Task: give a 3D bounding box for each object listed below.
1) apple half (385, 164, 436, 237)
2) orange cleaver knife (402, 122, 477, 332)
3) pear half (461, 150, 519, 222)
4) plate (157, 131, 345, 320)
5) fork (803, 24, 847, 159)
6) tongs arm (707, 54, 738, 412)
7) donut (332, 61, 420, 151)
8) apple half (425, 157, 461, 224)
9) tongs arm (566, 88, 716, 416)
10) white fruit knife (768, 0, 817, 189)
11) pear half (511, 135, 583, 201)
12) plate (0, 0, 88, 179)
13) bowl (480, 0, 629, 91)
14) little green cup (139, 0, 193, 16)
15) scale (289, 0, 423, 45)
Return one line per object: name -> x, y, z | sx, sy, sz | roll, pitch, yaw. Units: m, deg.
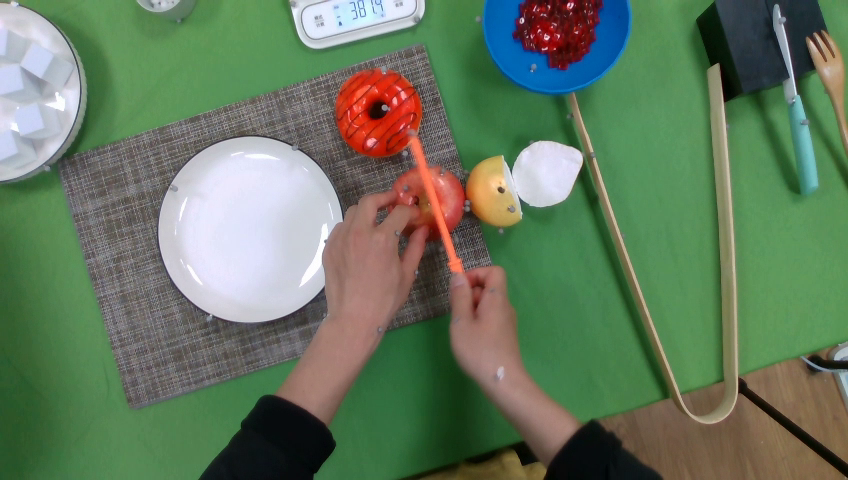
apple half -> -0.014, -0.040, 0.653 | 0.053, 0.074, 0.081 | -18, 93, 6
orange cleaver knife -> 0.016, -0.014, 0.596 | 0.012, 0.077, 0.212 | -17, 99, 11
pear half -> 0.066, -0.053, 0.634 | 0.056, 0.110, 0.076 | -27, 87, 8
plate -> -0.189, -0.016, 0.678 | 0.209, 0.038, 0.209 | 0, 90, 3
fork -> 0.444, -0.128, 0.641 | 0.028, 0.018, 0.208 | -27, 104, 0
tongs arm -> 0.322, -0.007, 0.662 | 0.028, 0.028, 0.387 | -3, 91, -3
donut -> -0.054, -0.147, 0.669 | 0.099, 0.048, 0.099 | 0, 91, 4
apple half -> 0.021, -0.057, 0.653 | 0.033, 0.081, 0.081 | -20, 88, -1
tongs arm -> 0.237, 0.011, 0.665 | 0.051, 0.026, 0.384 | -17, 91, 0
white fruit knife -> 0.385, -0.150, 0.636 | 0.016, 0.027, 0.208 | -19, 104, 2
pear half -> 0.138, -0.081, 0.660 | 0.088, 0.031, 0.070 | -26, 87, 36
plate -> -0.483, -0.172, 0.695 | 0.207, 0.039, 0.207 | 0, 90, 3
bowl -> 0.133, -0.228, 0.648 | 0.151, 0.077, 0.151 | 0, 91, 3
little green cup -> -0.294, -0.286, 0.686 | 0.061, 0.038, 0.061 | 0, 90, 3
scale -> -0.091, -0.333, 0.680 | 0.148, 0.031, 0.201 | -13, 90, 3
